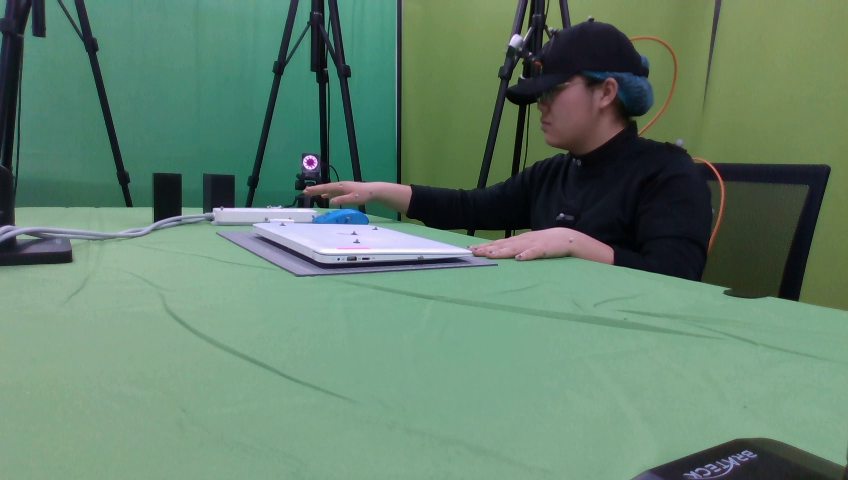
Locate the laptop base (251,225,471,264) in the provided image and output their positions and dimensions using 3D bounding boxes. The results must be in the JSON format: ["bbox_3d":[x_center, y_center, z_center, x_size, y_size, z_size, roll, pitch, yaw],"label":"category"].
[{"bbox_3d":[-0.116,0.007,0.955,0.237,0.023,0.352,2,6,-31],"label":"laptop base"}]

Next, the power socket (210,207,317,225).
[{"bbox_3d":[-0.335,-0.051,1.282,0.228,0.032,0.072,-1,9,-28],"label":"power socket"}]

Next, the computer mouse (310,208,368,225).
[{"bbox_3d":[-0.179,-0.045,1.275,0.118,0.041,0.062,-6,13,-29],"label":"computer mouse"}]

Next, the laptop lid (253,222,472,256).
[{"bbox_3d":[-0.113,-0.005,0.955,0.243,0.013,0.355,1,7,-29],"label":"laptop lid"}]

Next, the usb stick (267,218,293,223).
[{"bbox_3d":[-0.272,-0.026,1.107,0.059,0.027,0.021,-3,11,-27],"label":"usb stick"}]

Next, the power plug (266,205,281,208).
[{"bbox_3d":[-0.343,-0.056,1.365,0.053,0.035,0.072,-22,-9,-15],"label":"power plug"}]
